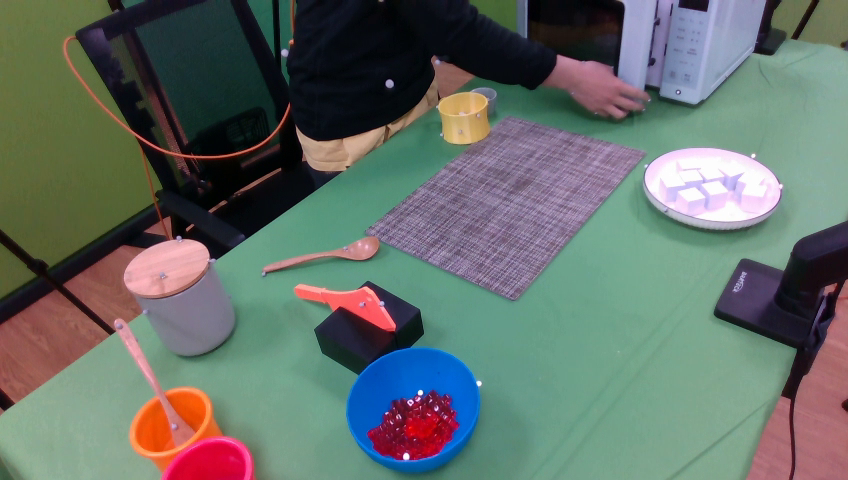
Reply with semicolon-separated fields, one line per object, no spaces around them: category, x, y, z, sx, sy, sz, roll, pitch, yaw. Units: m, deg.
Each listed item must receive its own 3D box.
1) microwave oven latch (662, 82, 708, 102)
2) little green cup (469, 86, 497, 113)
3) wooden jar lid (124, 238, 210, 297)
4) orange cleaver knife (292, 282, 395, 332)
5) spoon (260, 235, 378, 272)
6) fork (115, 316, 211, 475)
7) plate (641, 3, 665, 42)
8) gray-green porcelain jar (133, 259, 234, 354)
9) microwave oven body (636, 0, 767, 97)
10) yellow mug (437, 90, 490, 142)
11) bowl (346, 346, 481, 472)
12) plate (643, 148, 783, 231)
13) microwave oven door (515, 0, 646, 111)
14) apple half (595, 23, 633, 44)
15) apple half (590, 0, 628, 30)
microwave oven latch;0.518;-0.298;1.202;0.078;0.029;0.030;28;53;35
little green cup;0.123;-0.297;1.284;0.061;0.039;0.061;-2;38;2
wooden jar lid;-0.335;0.039;0.794;0.108;0.021;0.108;-2;40;2
orange cleaver knife;-0.116;0.091;0.835;0.209;0.077;0.012;2;32;48
spoon;-0.168;0.024;0.966;0.194;0.022;0.041;-10;58;-3
fork;-0.309;0.180;0.708;0.028;0.018;0.207;-30;89;-23
plate;0.433;-0.487;1.367;0.209;0.038;0.208;-4;42;4
gray-green porcelain jar;-0.328;0.087;0.836;0.106;0.127;0.105;-4;41;4
microwave oven body;0.474;-0.516;1.313;0.438;0.261;0.327;26;51;34
yellow mug;0.070;-0.257;1.224;0.100;0.064;0.129;-33;44;-26
bowl;-0.008;0.205;0.691;0.151;0.077;0.150;-4;40;4
plate;0.464;-0.080;0.986;0.207;0.039;0.206;-4;41;4
microwave oven door;0.313;-0.438;1.238;0.039;0.245;0.352;-28;45;-22
apple half;0.417;-0.460;1.329;0.081;0.033;0.081;-2;38;2
apple half;0.419;-0.522;1.379;0.081;0.054;0.074;-38;36;-16
